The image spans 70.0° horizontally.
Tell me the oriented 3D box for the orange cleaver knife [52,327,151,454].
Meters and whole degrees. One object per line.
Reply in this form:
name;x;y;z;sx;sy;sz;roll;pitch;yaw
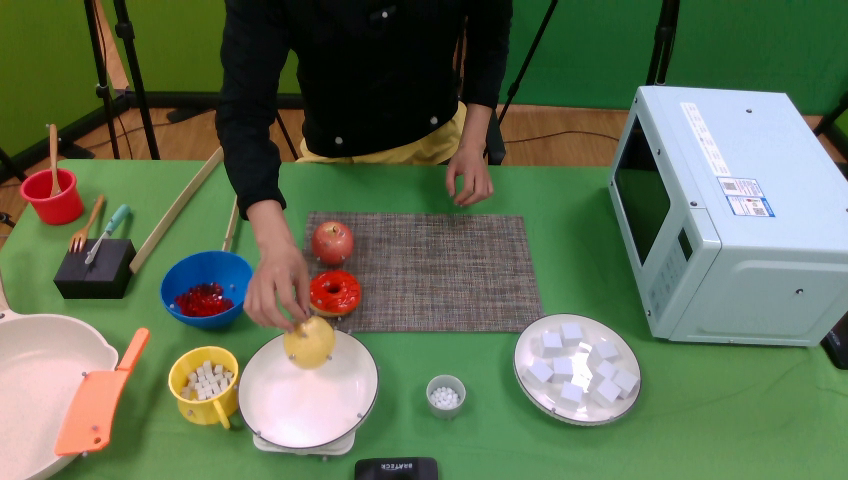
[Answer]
orange cleaver knife;-0.462;0.212;0.879;0.077;0.012;0.210;6;45;-1

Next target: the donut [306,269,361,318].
donut;-0.160;0.095;1.075;0.099;0.048;0.098;3;45;-3

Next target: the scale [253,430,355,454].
scale;-0.175;0.236;0.951;0.149;0.032;0.199;4;45;0

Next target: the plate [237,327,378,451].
plate;-0.174;0.224;0.917;0.209;0.038;0.208;2;46;-2

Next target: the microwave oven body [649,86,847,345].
microwave oven body;0.567;-0.053;1.118;0.326;0.261;0.439;2;45;-1

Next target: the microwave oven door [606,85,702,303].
microwave oven door;0.422;-0.094;1.140;0.039;0.245;0.353;2;46;-1

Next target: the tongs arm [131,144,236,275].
tongs arm;-0.484;-0.076;1.236;0.028;0.028;0.385;5;45;13

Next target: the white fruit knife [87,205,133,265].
white fruit knife;-0.584;-0.013;1.129;0.016;0.027;0.206;0;31;-5

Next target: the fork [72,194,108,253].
fork;-0.634;-0.036;1.158;0.028;0.019;0.206;-7;32;-9

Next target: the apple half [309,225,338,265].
apple half;-0.193;0.017;1.125;0.033;0.081;0.081;-27;53;-31

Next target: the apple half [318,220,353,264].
apple half;-0.162;0.001;1.144;0.053;0.075;0.080;-25;50;-29

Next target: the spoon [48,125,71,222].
spoon;-0.718;-0.132;1.188;0.041;0.021;0.193;-3;90;-7

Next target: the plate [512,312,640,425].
plate;0.246;0.213;0.999;0.208;0.039;0.206;2;46;-2

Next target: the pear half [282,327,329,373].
pear half;-0.174;0.166;0.878;0.070;0.088;0.031;6;42;1

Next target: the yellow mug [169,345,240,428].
yellow mug;-0.323;0.230;0.922;0.100;0.064;0.130;-24;53;-25

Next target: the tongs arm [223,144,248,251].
tongs arm;-0.397;-0.073;1.232;0.051;0.027;0.382;-3;45;1

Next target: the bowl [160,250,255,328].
bowl;-0.362;0.098;1.039;0.151;0.077;0.150;2;45;-2

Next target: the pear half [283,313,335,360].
pear half;-0.169;0.136;0.898;0.076;0.110;0.055;7;43;1

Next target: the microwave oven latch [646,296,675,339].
microwave oven latch;0.412;0.134;1.061;0.030;0.029;0.078;4;45;1

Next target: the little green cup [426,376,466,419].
little green cup;0.033;0.248;0.950;0.061;0.039;0.061;2;46;-2

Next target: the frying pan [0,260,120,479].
frying pan;-0.647;0.164;0.936;0.307;0.103;0.485;-19;58;-22
